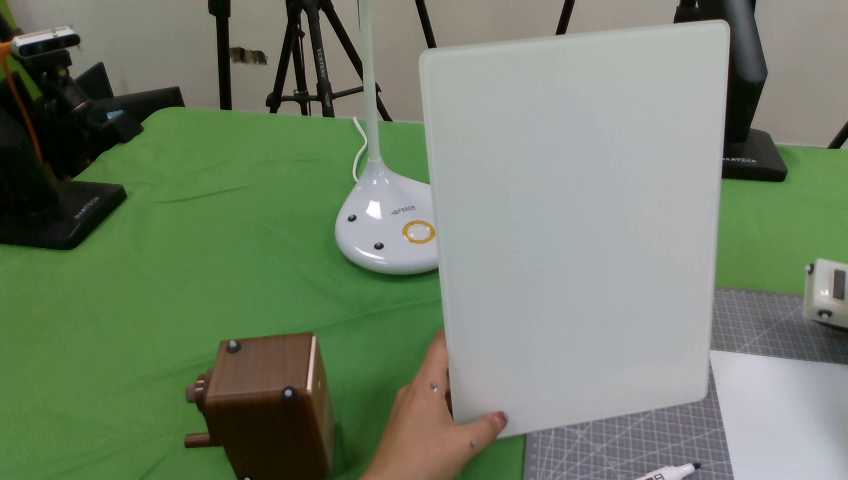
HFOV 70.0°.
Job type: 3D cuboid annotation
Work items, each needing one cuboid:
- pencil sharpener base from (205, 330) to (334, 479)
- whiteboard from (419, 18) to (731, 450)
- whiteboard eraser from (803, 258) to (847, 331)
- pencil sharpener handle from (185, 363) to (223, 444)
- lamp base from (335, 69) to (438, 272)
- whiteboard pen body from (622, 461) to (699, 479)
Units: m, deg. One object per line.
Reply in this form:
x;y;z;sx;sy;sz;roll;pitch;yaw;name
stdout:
-0.113;0.126;0.455;0.077;0.108;0.060;-5;39;-2;pencil sharpener base
0.108;-0.013;0.508;0.217;0.307;0.143;-8;19;-6;whiteboard
0.396;0.057;0.529;0.112;0.042;0.055;15;62;18;whiteboard eraser
-0.164;0.122;0.442;0.031;0.068;0.035;-5;26;-2;pencil sharpener handle
-0.033;-0.084;0.659;0.161;0.182;0.177;-26;42;-27;lamp base
0.141;0.184;0.440;0.141;0.017;0.017;-13;39;-15;whiteboard pen body
